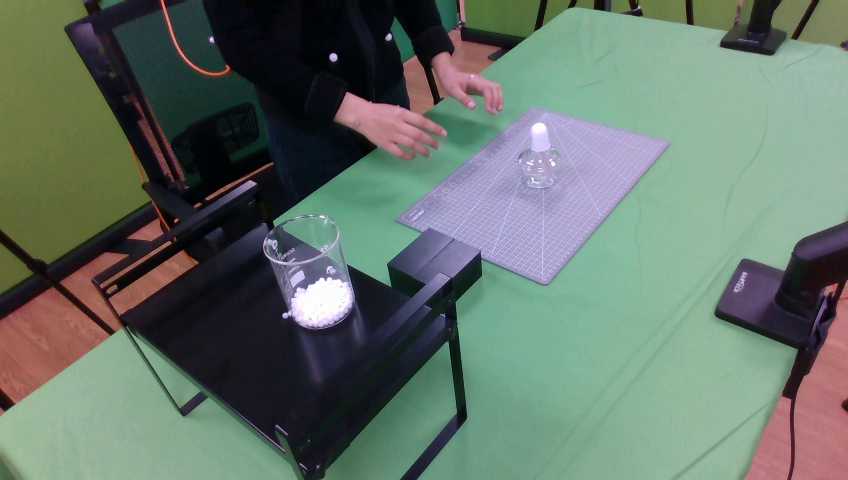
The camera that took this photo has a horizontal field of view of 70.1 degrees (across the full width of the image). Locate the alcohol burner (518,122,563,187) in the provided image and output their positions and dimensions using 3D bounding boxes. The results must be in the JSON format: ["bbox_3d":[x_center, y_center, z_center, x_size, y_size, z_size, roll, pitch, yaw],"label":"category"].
[{"bbox_3d":[0.201,-0.151,1.046,0.078,0.119,0.077,-6,42,5],"label":"alcohol burner"}]

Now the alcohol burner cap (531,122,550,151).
[{"bbox_3d":[0.196,-0.178,1.024,0.034,0.048,0.033,-8,40,7],"label":"alcohol burner cap"}]

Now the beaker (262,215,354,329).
[{"bbox_3d":[-0.112,0.034,0.616,0.073,0.101,0.084,13,44,23],"label":"beaker"}]
